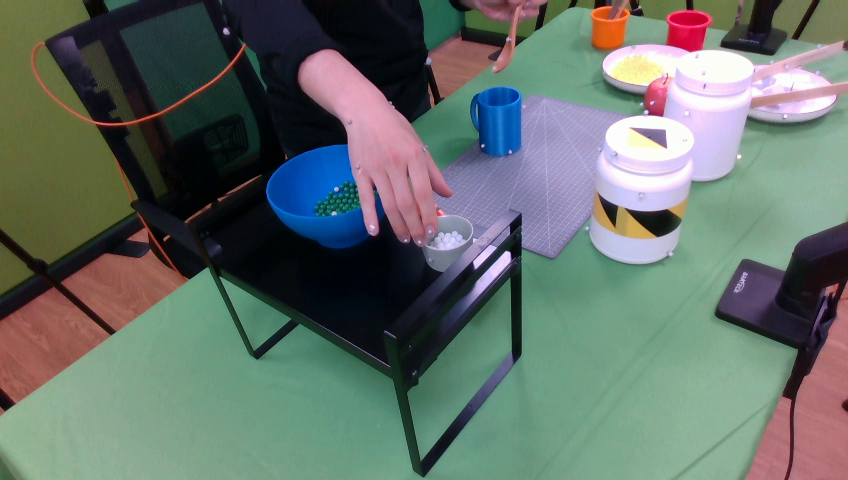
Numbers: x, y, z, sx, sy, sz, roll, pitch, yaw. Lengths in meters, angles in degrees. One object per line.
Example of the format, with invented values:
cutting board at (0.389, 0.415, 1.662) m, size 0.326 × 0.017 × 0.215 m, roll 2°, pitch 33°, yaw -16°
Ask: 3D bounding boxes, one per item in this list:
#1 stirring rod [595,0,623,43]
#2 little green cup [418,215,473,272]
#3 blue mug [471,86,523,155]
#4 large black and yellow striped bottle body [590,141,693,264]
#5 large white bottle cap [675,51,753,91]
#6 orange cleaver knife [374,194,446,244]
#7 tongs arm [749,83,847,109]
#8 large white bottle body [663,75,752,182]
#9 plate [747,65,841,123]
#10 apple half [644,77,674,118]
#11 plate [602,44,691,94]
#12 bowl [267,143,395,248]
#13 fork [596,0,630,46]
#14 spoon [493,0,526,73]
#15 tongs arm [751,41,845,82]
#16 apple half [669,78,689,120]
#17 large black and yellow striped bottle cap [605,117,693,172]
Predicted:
stirring rod at (0.460, -0.556, 1.459) m, size 0.014 × 0.006 × 0.176 m, roll 30°, pitch 93°, yaw 23°
little green cup at (0.026, 0.005, 0.678) m, size 0.061 × 0.039 × 0.061 m, roll -4°, pitch 40°, yaw 4°
blue mug at (0.135, -0.235, 1.163) m, size 0.082 × 0.106 × 0.115 m, roll -36°, pitch 48°, yaw -28°
large black and yellow striped bottle body at (0.317, -0.071, 0.889) m, size 0.131 × 0.185 × 0.130 m, roll -4°, pitch 41°, yaw 4°
large white bottle cap at (0.463, -0.271, 0.967) m, size 0.115 × 0.018 × 0.114 m, roll -4°, pitch 40°, yaw 4°
orange cleaver knife at (-0.032, -0.026, 0.964) m, size 0.210 × 0.077 × 0.012 m, roll -9°, pitch 29°, yaw 51°
tongs arm at (0.735, -0.279, 1.134) m, size 0.388 × 0.028 × 0.028 m, roll -9°, pitch 47°, yaw -5°
large white bottle body at (0.472, -0.207, 1.022) m, size 0.130 × 0.185 × 0.130 m, roll -4°, pitch 41°, yaw 4°
plate at (0.695, -0.283, 1.189) m, size 0.207 × 0.039 × 0.206 m, roll -4°, pitch 40°, yaw 4°
apple half at (0.463, -0.279, 1.194) m, size 0.053 × 0.075 × 0.081 m, roll 8°, pitch 46°, yaw 25°
plate at (0.495, -0.367, 1.317) m, size 0.209 × 0.038 × 0.208 m, roll -4°, pitch 40°, yaw 4°
bowl at (-0.104, -0.043, 0.726) m, size 0.151 × 0.077 × 0.150 m, roll -4°, pitch 41°, yaw 4°
fork at (0.481, -0.556, 1.452) m, size 0.028 × 0.019 × 0.207 m, roll 40°, pitch 103°, yaw 40°
spoon at (0.156, -0.368, 0.996) m, size 0.022 × 0.193 × 0.041 m, roll 13°, pitch 13°, yaw -22°
tongs arm at (0.708, -0.331, 1.194) m, size 0.386 × 0.026 × 0.050 m, roll -19°, pitch 45°, yaw -16°
apple half at (0.498, -0.273, 1.180) m, size 0.032 × 0.082 × 0.081 m, roll 7°, pitch 42°, yaw 25°
large black and yellow striped bottle cap at (0.309, -0.134, 0.833) m, size 0.115 × 0.019 × 0.114 m, roll -5°, pitch 40°, yaw 5°
